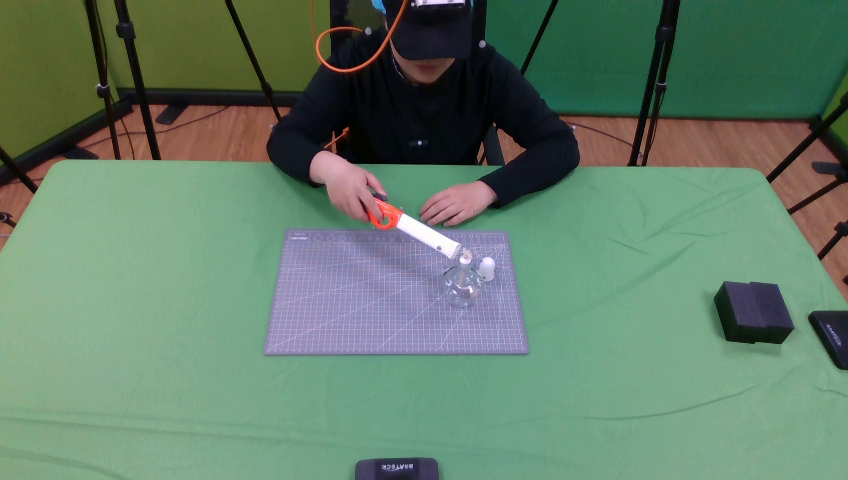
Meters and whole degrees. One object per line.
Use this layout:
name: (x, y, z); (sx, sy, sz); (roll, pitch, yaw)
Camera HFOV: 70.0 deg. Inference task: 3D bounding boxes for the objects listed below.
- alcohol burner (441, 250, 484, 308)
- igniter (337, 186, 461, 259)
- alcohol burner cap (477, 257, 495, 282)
alcohol burner: (0.069, 0.064, 1.075); (0.078, 0.120, 0.077); (1, 45, -1)
igniter: (-0.052, -0.038, 1.108); (0.275, 0.057, 0.025); (28, 7, 27)
alcohol burner cap: (0.118, 0.053, 1.140); (0.034, 0.048, 0.033); (2, 45, -2)
